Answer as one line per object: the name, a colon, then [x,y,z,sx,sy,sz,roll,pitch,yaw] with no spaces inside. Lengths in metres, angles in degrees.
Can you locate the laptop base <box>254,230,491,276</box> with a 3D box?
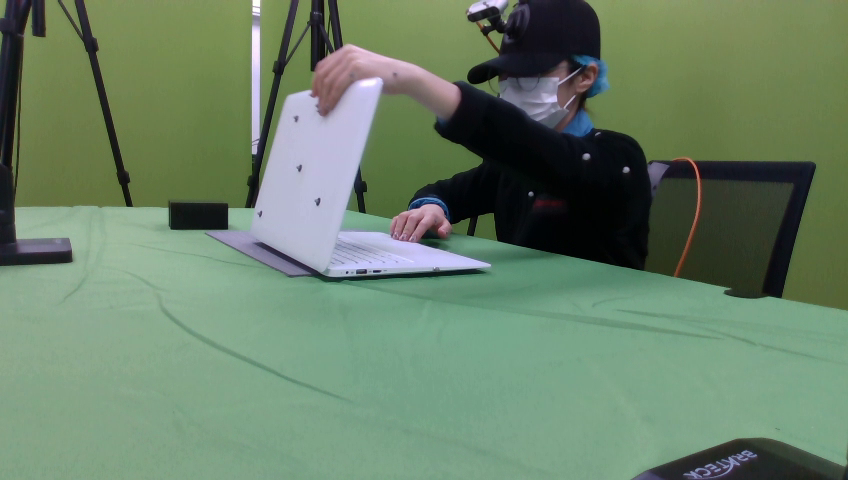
laptop base: [-0.095,0.016,0.888,0.237,0.023,0.352,1,7,-30]

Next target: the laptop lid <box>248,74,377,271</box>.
laptop lid: [-0.169,-0.100,0.827,0.013,0.241,0.355,15,2,-31]
